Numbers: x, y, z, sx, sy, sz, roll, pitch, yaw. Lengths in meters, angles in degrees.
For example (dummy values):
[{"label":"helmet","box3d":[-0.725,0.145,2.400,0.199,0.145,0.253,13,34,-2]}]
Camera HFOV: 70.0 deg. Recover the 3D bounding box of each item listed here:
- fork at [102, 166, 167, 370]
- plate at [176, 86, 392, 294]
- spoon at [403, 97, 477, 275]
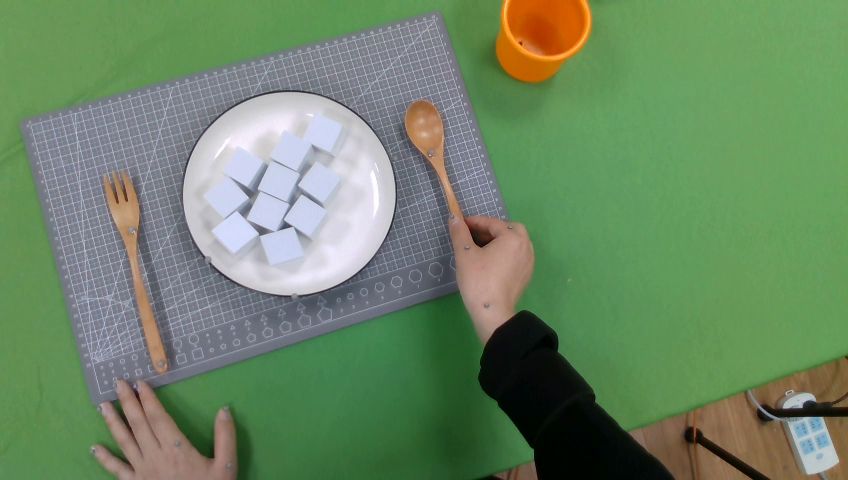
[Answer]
[{"label":"fork","box3d":[-0.283,0.027,0.597,0.028,0.018,0.206,-15,83,-12]},{"label":"plate","box3d":[-0.137,-0.049,0.610,0.208,0.039,0.207,1,83,-5]},{"label":"spoon","box3d":[0.021,-0.056,0.631,0.042,0.021,0.193,-17,84,-9]}]
